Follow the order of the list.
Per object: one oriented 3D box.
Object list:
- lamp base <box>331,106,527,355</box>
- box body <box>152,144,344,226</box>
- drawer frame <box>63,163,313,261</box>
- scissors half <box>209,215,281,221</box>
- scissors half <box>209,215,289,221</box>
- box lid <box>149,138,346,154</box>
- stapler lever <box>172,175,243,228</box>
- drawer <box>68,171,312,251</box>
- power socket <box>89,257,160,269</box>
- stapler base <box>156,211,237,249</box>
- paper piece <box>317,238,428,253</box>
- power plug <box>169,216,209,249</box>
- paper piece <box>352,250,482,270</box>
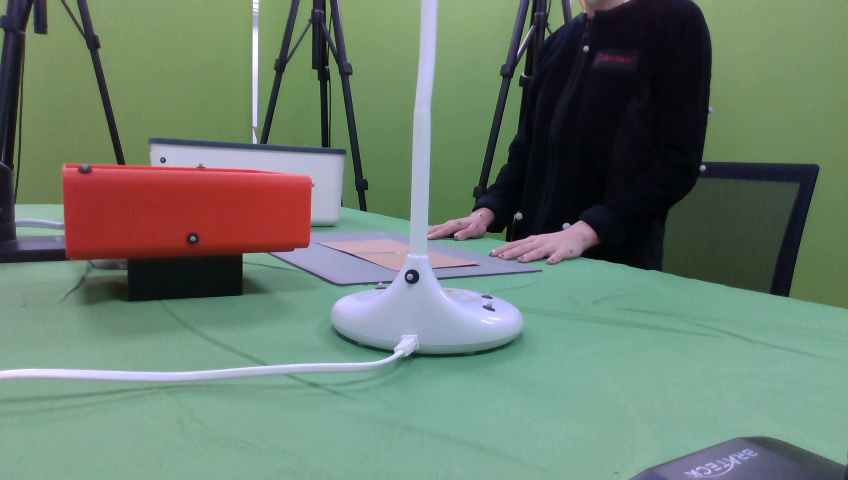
[{"bbox_3d":[0.006,-0.012,0.478,0.161,0.180,0.179,2,10,2],"label":"lamp base"},{"bbox_3d":[-0.370,-0.119,1.264,0.366,0.160,0.253,-1,8,-24],"label":"box body"},{"bbox_3d":[-0.248,-0.036,0.626,0.215,0.082,0.200,-3,9,-31],"label":"drawer frame"},{"bbox_3d":[-0.364,-0.044,1.215,0.174,0.013,0.040,1,4,26],"label":"scissors half"},{"bbox_3d":[-0.358,-0.044,1.235,0.175,0.013,0.040,1,-2,8],"label":"scissors half"},{"bbox_3d":[-0.365,-0.191,1.255,0.373,0.015,0.262,-1,8,-24],"label":"box lid"},{"bbox_3d":[-0.217,-0.042,0.618,0.027,0.040,0.118,19,11,-2],"label":"stapler lever"},{"bbox_3d":[-0.246,-0.036,0.629,0.213,0.073,0.193,-2,9,-30],"label":"drawer"},{"bbox_3d":[-0.409,0.004,0.793,0.072,0.032,0.225,-2,8,-38],"label":"power socket"},{"bbox_3d":[-0.227,-0.017,0.624,0.041,0.024,0.130,19,9,-2],"label":"stapler base"},{"bbox_3d":[-0.083,0.008,0.952,0.136,0.004,0.134,-2,9,-31],"label":"paper piece"},{"bbox_3d":[-0.343,-0.007,0.889,0.035,0.052,0.072,-8,-8,-41],"label":"power plug"},{"bbox_3d":[-0.013,0.026,0.842,0.139,0.008,0.135,0,11,-32],"label":"paper piece"}]
